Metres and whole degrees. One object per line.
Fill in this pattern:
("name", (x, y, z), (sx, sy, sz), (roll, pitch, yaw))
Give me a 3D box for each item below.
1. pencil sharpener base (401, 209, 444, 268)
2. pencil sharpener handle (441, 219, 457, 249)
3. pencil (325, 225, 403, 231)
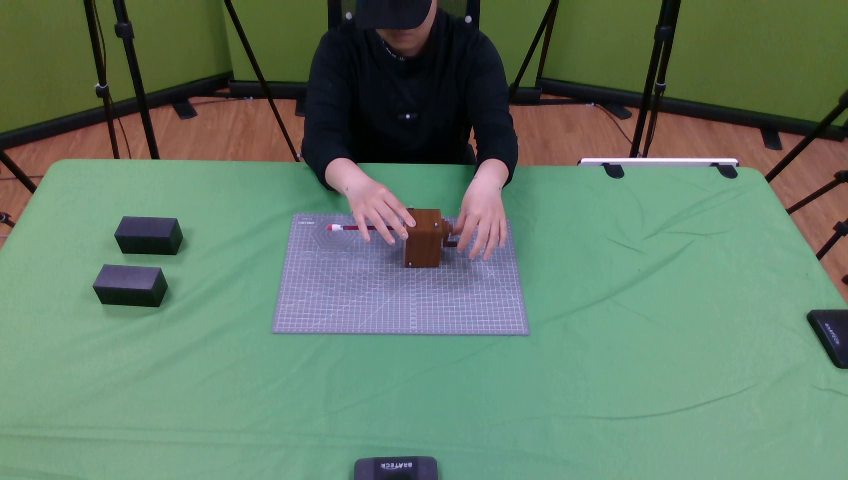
("pencil sharpener base", (-0.004, -0.002, 1.136), (0.077, 0.107, 0.061), (0, 46, -5))
("pencil sharpener handle", (0.048, -0.010, 1.131), (0.031, 0.068, 0.036), (0, 41, -5))
("pencil", (-0.083, -0.022, 1.110), (0.194, 0.012, 0.012), (1, 46, -6))
